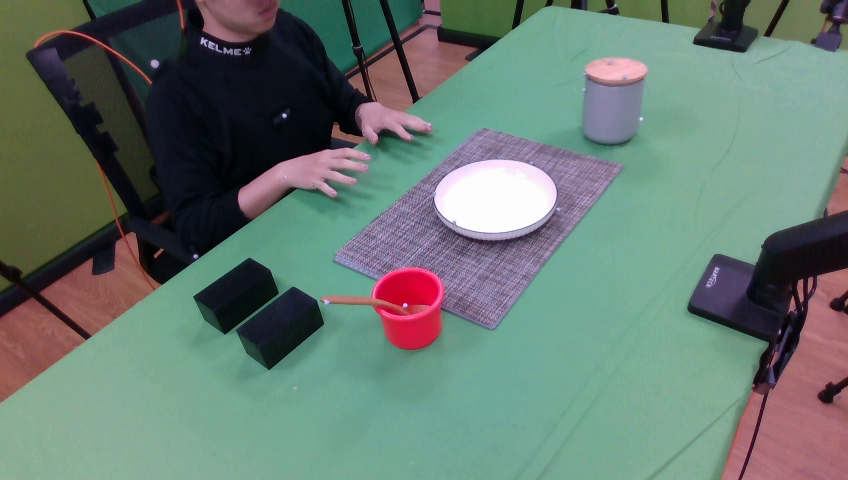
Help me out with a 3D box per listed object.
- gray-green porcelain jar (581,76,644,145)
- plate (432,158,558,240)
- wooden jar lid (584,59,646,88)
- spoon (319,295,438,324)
[{"bbox_3d":[0.350,-0.251,1.131,0.106,0.127,0.105,-4,41,4],"label":"gray-green porcelain jar"},{"bbox_3d":[0.118,-0.066,1.013,0.207,0.039,0.206,-4,41,4],"label":"plate"},{"bbox_3d":[0.343,-0.298,1.089,0.108,0.021,0.108,-3,38,3],"label":"wooden jar lid"},{"bbox_3d":[-0.055,0.086,0.784,0.195,0.021,0.041,19,19,-44],"label":"spoon"}]
